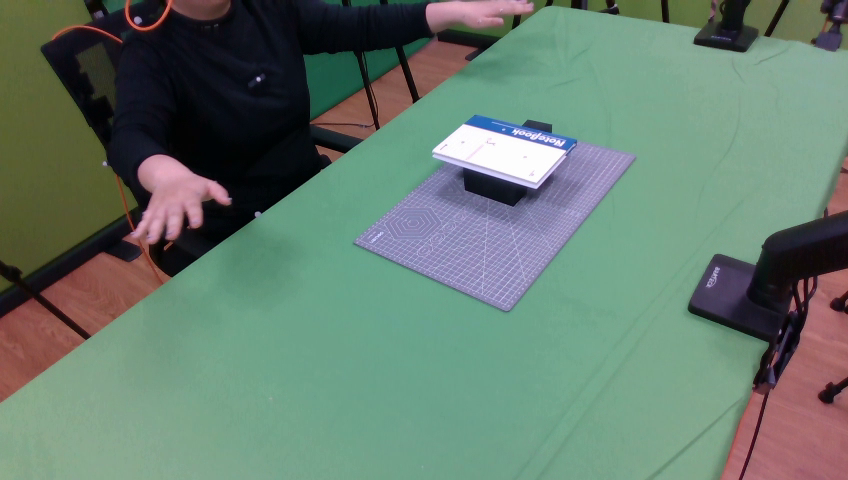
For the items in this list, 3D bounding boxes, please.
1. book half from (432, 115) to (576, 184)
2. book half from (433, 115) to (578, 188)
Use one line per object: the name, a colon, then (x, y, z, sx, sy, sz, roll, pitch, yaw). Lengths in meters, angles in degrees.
book half: (0.138, -0.164, 1.054, 0.208, 0.007, 0.143, 22, 48, 29)
book half: (0.140, -0.160, 1.060, 0.208, 0.016, 0.149, 22, 48, 30)
